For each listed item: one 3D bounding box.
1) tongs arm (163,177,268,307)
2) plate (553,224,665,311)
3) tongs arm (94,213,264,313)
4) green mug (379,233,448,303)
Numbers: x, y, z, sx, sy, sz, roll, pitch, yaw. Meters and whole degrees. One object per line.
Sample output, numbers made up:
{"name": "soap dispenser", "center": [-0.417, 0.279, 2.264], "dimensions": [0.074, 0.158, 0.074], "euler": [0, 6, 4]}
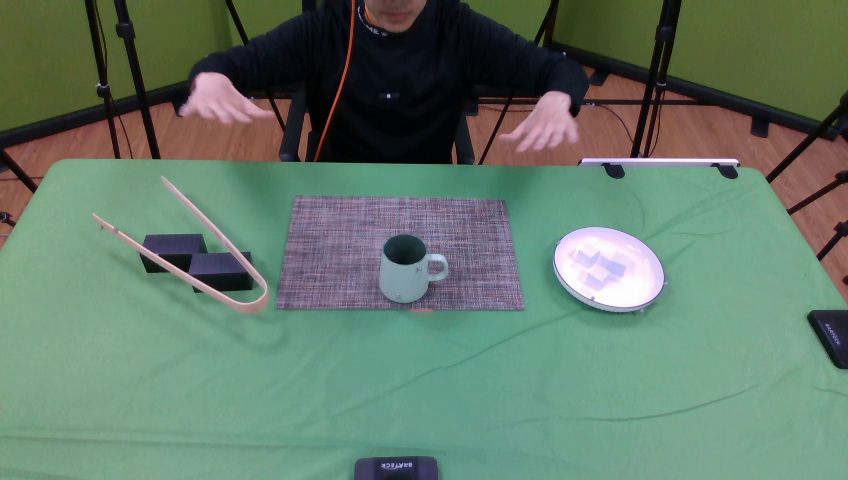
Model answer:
{"name": "tongs arm", "center": [-0.387, -0.009, 1.108], "dimensions": [0.028, 0.028, 0.385], "euler": [-27, 54, -35]}
{"name": "plate", "center": [0.349, 0.055, 1.159], "dimensions": [0.209, 0.038, 0.208], "euler": [2, 47, -2]}
{"name": "tongs arm", "center": [-0.437, 0.031, 1.063], "dimensions": [0.383, 0.026, 0.050], "euler": [29, 48, 21]}
{"name": "green mug", "center": [-0.018, 0.051, 1.084], "dimensions": [0.125, 0.105, 0.092], "euler": [0, 46, -4]}
